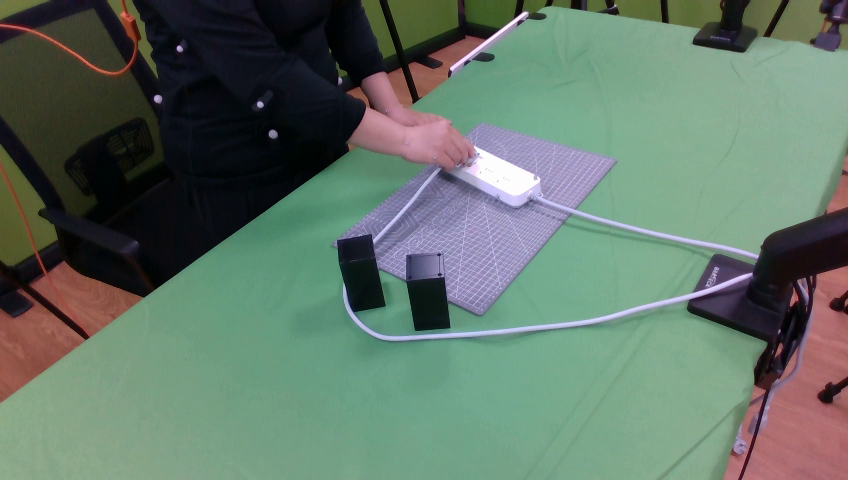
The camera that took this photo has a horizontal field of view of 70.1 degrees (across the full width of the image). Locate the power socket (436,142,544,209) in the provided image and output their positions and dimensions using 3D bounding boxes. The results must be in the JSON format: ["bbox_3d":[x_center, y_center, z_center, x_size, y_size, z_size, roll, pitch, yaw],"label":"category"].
[{"bbox_3d":[0.112,-0.120,1.083,0.072,0.033,0.224,-34,47,-27],"label":"power socket"}]

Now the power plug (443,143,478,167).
[{"bbox_3d":[0.062,-0.144,1.072,0.073,0.053,0.035,-24,41,-13],"label":"power plug"}]
